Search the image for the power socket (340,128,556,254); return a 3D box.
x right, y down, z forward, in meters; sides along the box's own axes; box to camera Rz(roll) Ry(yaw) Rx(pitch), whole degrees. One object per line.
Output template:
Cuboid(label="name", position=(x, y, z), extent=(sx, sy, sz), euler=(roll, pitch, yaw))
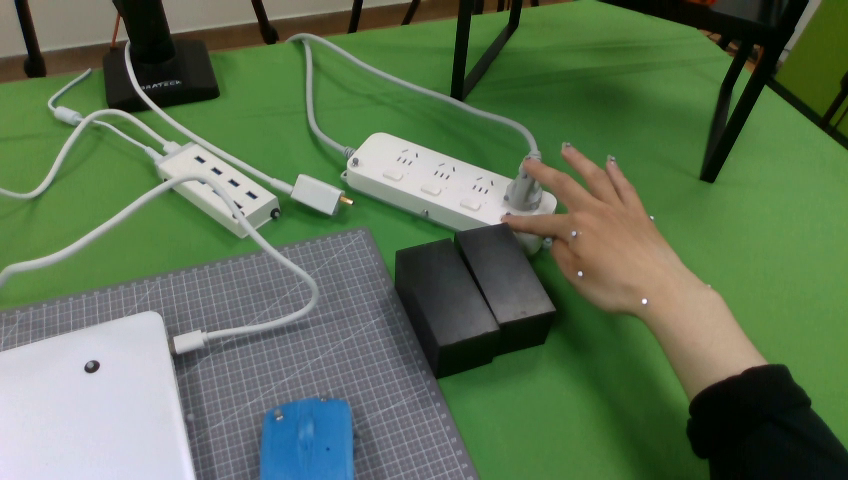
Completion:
Cuboid(label="power socket", position=(0.025, -0.052, 0.606), extent=(0.226, 0.033, 0.072), euler=(22, 50, 14))

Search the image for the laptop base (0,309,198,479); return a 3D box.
Cuboid(label="laptop base", position=(-0.326, 0.187, 0.375), extent=(0.355, 0.023, 0.233), euler=(-16, 56, -18))

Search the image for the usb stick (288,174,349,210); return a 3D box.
Cuboid(label="usb stick", position=(-0.101, -0.045, 0.591), extent=(0.059, 0.021, 0.027), euler=(16, 91, -11))

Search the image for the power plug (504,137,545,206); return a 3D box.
Cuboid(label="power plug", position=(0.106, -0.058, 0.588), extent=(0.035, 0.053, 0.072), euler=(32, 55, 23))

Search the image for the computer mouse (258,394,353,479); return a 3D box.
Cuboid(label="computer mouse", position=(-0.079, 0.155, 0.408), extent=(0.063, 0.041, 0.116), euler=(-5, 45, -7))

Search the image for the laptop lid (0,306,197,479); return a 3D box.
Cuboid(label="laptop lid", position=(-0.324, 0.181, 0.365), extent=(0.357, 0.013, 0.239), euler=(-15, 54, -17))

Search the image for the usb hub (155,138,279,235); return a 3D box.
Cuboid(label="usb hub", position=(-0.204, -0.054, 0.593), extent=(0.124, 0.025, 0.049), euler=(32, 54, 22))
